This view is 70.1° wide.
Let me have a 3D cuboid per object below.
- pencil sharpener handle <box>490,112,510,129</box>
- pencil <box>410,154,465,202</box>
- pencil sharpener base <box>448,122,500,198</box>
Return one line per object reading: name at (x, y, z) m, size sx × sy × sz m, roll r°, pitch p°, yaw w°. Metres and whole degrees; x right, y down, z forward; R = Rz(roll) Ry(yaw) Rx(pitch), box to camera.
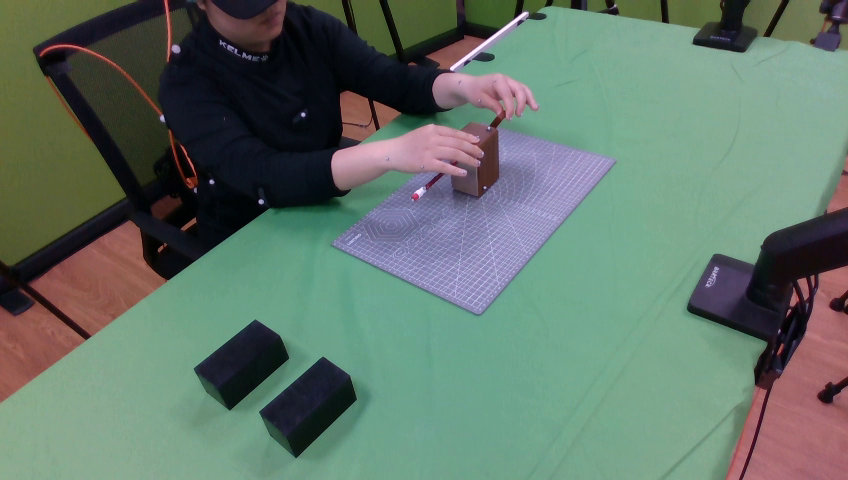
pencil sharpener handle at (0.123, -0.196, 1.052) m, size 0.036 × 0.067 × 0.031 m, roll 47°, pitch 53°, yaw -3°
pencil at (0.039, -0.116, 0.986) m, size 0.012 × 0.012 × 0.194 m, roll 21°, pitch 46°, yaw 30°
pencil sharpener base at (0.090, -0.140, 1.052) m, size 0.061 × 0.107 × 0.077 m, roll 20°, pitch 47°, yaw 29°
